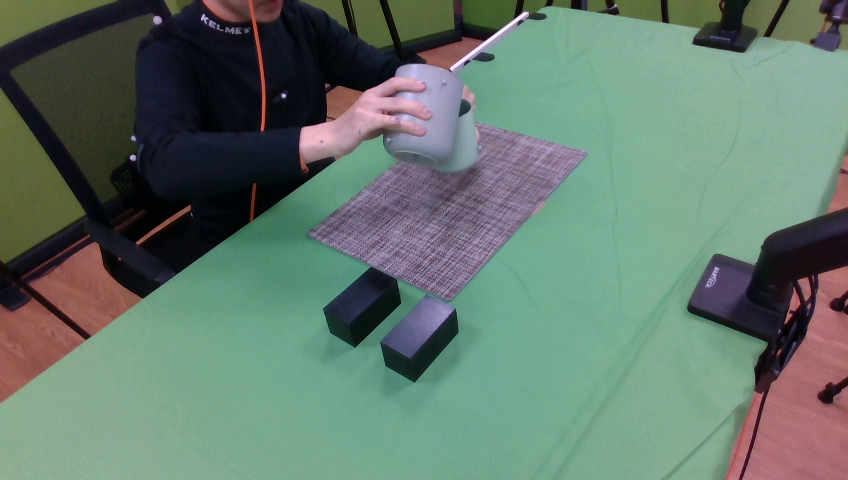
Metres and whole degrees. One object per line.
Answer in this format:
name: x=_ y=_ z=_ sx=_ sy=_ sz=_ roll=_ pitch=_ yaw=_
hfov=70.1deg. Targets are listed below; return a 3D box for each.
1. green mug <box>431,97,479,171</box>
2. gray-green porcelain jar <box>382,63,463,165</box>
green mug: x=0.046 y=-0.189 z=1.036 sx=0.092 sy=0.105 sz=0.124 roll=-4 pitch=39 yaw=4
gray-green porcelain jar: x=-0.004 y=-0.183 z=0.901 sx=0.105 sy=0.106 sz=0.126 roll=8 pitch=84 yaw=18
